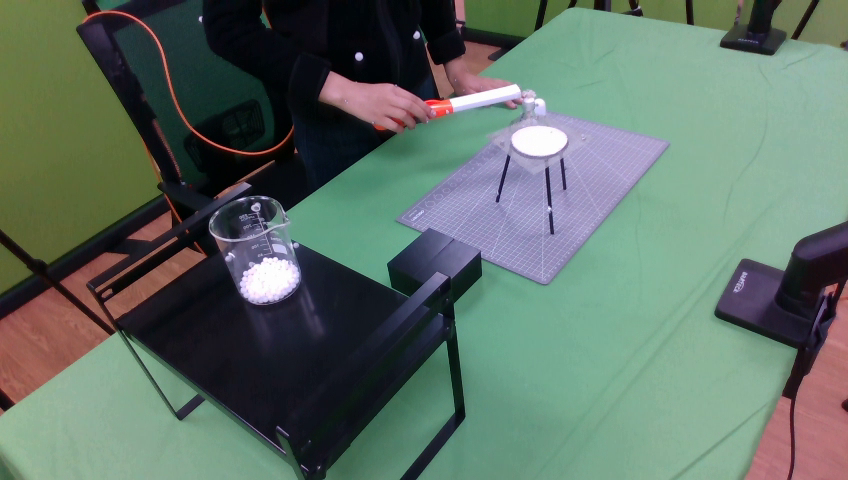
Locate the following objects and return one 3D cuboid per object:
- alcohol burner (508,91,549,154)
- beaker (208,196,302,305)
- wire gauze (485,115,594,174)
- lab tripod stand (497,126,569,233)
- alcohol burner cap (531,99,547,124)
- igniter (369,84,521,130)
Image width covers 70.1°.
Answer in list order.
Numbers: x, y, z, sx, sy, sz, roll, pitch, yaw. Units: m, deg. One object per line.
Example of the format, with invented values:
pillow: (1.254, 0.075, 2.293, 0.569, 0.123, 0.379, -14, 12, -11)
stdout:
alcohol burner: (0.196, -0.223, 1.134, 0.078, 0.119, 0.077, -6, 39, 5)
beaker: (-0.173, 0.014, 0.647, 0.084, 0.101, 0.073, -1, 41, 8)
wire gauze: (0.177, -0.154, 0.935, 0.122, 0.011, 0.124, -26, 45, -21)
lab tripod stand: (0.188, -0.104, 0.978, 0.148, 0.132, 0.147, -3, 41, 3)
alcohol burner cap: (0.234, -0.264, 1.231, 0.034, 0.048, 0.033, -5, 41, 5)
igniter: (0.037, -0.240, 1.089, 0.277, 0.025, 0.057, -13, 43, -5)
